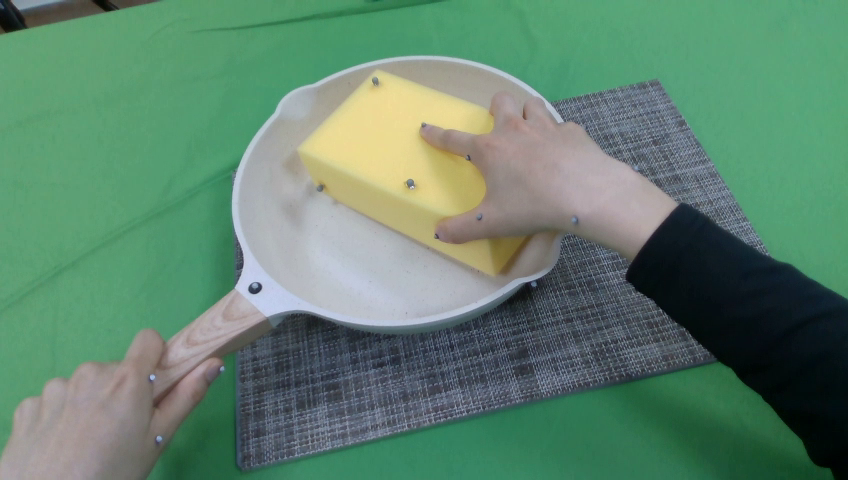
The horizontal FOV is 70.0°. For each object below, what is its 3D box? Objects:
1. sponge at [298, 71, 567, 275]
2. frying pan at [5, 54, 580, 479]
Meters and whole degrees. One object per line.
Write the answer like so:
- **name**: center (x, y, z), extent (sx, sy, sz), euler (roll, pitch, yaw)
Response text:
- **sponge**: center (0.007, -0.067, 0.538), extent (0.205, 0.061, 0.118), euler (26, 64, 28)
- **frying pan**: center (-0.087, 0.013, 0.485), extent (0.304, 0.103, 0.487), euler (36, 58, 27)
